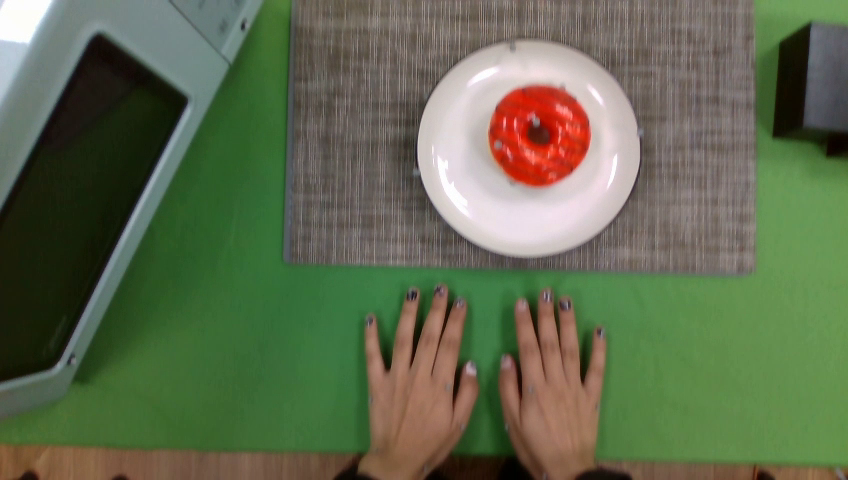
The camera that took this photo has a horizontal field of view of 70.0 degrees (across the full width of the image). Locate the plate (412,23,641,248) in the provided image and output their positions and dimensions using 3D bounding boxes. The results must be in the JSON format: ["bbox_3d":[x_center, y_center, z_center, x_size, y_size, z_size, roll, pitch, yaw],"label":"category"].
[{"bbox_3d":[0.094,-0.095,0.569,0.209,0.038,0.209,0,89,-1],"label":"plate"}]

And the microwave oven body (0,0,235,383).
[{"bbox_3d":[-0.390,-0.129,0.455,0.326,0.260,0.441,26,90,0],"label":"microwave oven body"}]

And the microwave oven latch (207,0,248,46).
[{"bbox_3d":[-0.179,-0.222,0.555,0.030,0.029,0.079,26,90,0],"label":"microwave oven latch"}]

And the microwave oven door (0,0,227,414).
[{"bbox_3d":[-0.276,-0.028,0.450,0.039,0.244,0.355,25,89,1],"label":"microwave oven door"}]

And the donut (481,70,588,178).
[{"bbox_3d":[0.102,-0.107,0.558,0.099,0.048,0.099,0,90,-3],"label":"donut"}]
